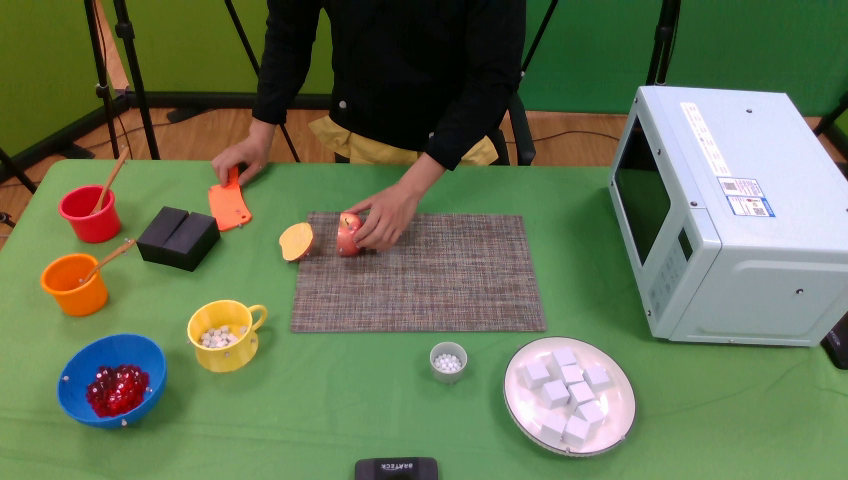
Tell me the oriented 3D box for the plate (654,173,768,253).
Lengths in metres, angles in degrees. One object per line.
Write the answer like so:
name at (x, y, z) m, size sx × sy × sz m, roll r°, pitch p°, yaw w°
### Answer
plate at (0.555, -0.049, 1.187) m, size 0.209 × 0.038 × 0.208 m, roll 1°, pitch 47°, yaw -1°

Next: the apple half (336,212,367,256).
apple half at (-0.135, -0.009, 1.157) m, size 0.053 × 0.075 × 0.080 m, roll 5°, pitch 42°, yaw -1°

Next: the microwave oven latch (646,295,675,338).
microwave oven latch at (0.412, 0.134, 1.061) m, size 0.030 × 0.029 × 0.078 m, roll 4°, pitch 45°, yaw 1°

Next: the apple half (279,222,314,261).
apple half at (-0.237, 0.007, 1.158) m, size 0.081 × 0.033 × 0.081 m, roll -14°, pitch 57°, yaw 23°

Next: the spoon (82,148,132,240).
spoon at (-0.602, -0.089, 1.156) m, size 0.041 × 0.022 × 0.194 m, roll 28°, pitch 95°, yaw 22°

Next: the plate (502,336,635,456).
plate at (0.225, 0.248, 0.964) m, size 0.208 × 0.039 × 0.206 m, roll 2°, pitch 46°, yaw -2°

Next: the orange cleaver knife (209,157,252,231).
orange cleaver knife at (-0.408, -0.099, 1.266) m, size 0.077 × 0.012 × 0.210 m, roll -11°, pitch 50°, yaw -13°

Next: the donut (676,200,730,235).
donut at (0.538, -0.045, 1.170) m, size 0.099 × 0.048 × 0.098 m, roll 3°, pitch 32°, yaw -2°

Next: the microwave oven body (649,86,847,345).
microwave oven body at (0.568, -0.053, 1.118) m, size 0.326 × 0.261 × 0.439 m, roll 2°, pitch 45°, yaw -1°

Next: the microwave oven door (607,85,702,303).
microwave oven door at (0.423, -0.094, 1.141) m, size 0.039 × 0.245 × 0.353 m, roll 2°, pitch 46°, yaw -1°

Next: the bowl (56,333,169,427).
bowl at (-0.456, 0.223, 0.911) m, size 0.151 × 0.077 × 0.150 m, roll 3°, pitch 46°, yaw -2°

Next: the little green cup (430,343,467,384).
little green cup at (0.039, 0.203, 0.994) m, size 0.061 × 0.039 × 0.061 m, roll 2°, pitch 46°, yaw -2°

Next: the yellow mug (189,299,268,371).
yellow mug at (-0.316, 0.148, 1.002) m, size 0.131 × 0.064 × 0.099 m, roll -33°, pitch 56°, yaw -31°

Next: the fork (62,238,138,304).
fork at (-0.547, 0.053, 1.018) m, size 0.207 × 0.019 × 0.028 m, roll -36°, pitch 41°, yaw 23°
